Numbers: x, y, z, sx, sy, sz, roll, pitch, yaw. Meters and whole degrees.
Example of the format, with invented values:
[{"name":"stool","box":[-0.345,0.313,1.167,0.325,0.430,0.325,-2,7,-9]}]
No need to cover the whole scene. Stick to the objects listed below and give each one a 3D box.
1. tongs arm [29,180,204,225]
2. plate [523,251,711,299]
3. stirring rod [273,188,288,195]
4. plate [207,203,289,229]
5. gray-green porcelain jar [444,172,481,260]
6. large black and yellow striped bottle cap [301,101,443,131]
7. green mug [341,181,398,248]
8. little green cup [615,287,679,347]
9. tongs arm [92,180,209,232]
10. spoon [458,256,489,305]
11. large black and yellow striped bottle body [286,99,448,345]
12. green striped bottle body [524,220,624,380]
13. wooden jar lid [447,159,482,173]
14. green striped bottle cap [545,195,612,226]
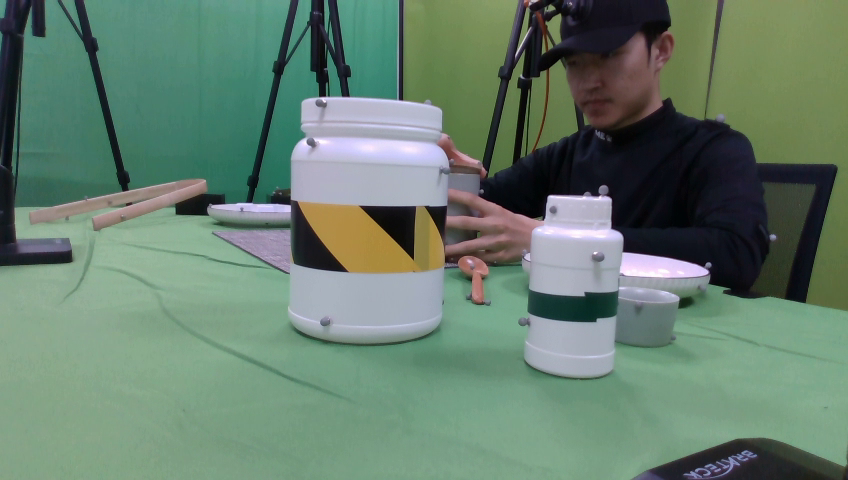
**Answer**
[{"name":"tongs arm","box":[-0.609,-0.083,1.245,0.050,0.026,0.386,5,16,23]},{"name":"plate","box":[0.219,0.042,0.706,0.209,0.038,0.209,2,7,0]},{"name":"stirring rod","box":[-0.354,-0.122,1.519,0.006,0.014,0.176,2,7,1]},{"name":"plate","box":[-0.342,-0.050,1.259,0.208,0.039,0.207,2,7,0]},{"name":"gray-green porcelain jar","box":[0.029,-0.038,0.892,0.106,0.126,0.106,2,7,0]},{"name":"large black and yellow striped bottle cap","box":[-0.042,-0.100,0.491,0.115,0.019,0.115,1,8,0]},{"name":"green mug","box":[-0.090,-0.044,0.996,0.093,0.105,0.125,0,7,-10]},{"name":"little green cup","box":[0.180,0.064,0.506,0.061,0.038,0.061,2,8,0]},{"name":"tongs arm","box":[-0.534,-0.076,1.221,0.028,0.028,0.388,-2,15,12]},{"name":"spoon","box":[0.059,0.044,0.696,0.041,0.021,0.194,20,7,0]},{"name":"large black and yellow striped bottle body","box":[-0.047,-0.018,0.501,0.131,0.184,0.130,2,7,0]},{"name":"green striped bottle body","box":[0.104,0.031,0.422,0.063,0.119,0.063,2,8,0]},{"name":"wooden jar lid","box":[0.031,-0.103,0.883,0.108,0.020,0.108,5,1,0]},{"name":"green striped bottle cap","box":[0.106,-0.020,0.414,0.044,0.020,0.044,2,4,0]}]
